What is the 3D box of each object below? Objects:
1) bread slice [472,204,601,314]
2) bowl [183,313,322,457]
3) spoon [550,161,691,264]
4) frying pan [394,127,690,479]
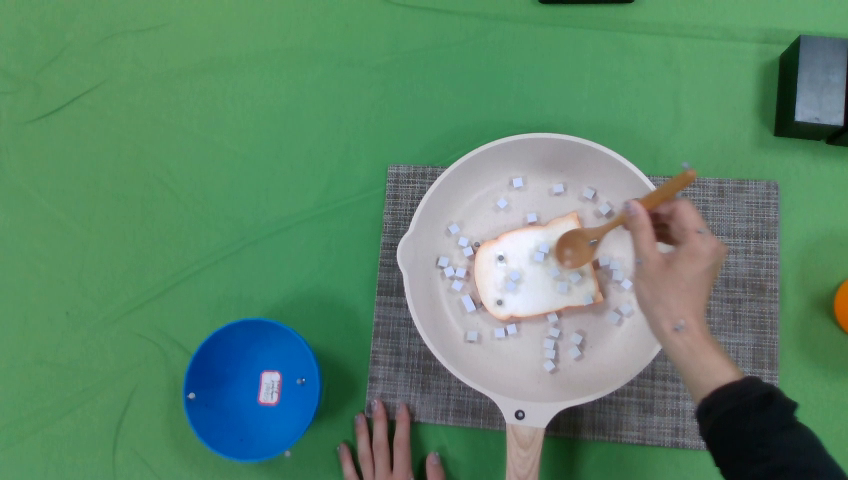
[{"bbox_3d":[0.122,0.030,0.688,0.134,0.018,0.106,-18,81,2],"label":"bread slice"},{"bbox_3d":[-0.179,0.158,0.680,0.151,0.077,0.151,-1,82,6],"label":"bowl"},{"bbox_3d":[0.184,-0.023,0.587,0.022,0.194,0.041,-24,79,-30],"label":"spoon"},{"bbox_3d":[0.109,0.124,0.636,0.306,0.103,0.485,6,74,8],"label":"frying pan"}]
